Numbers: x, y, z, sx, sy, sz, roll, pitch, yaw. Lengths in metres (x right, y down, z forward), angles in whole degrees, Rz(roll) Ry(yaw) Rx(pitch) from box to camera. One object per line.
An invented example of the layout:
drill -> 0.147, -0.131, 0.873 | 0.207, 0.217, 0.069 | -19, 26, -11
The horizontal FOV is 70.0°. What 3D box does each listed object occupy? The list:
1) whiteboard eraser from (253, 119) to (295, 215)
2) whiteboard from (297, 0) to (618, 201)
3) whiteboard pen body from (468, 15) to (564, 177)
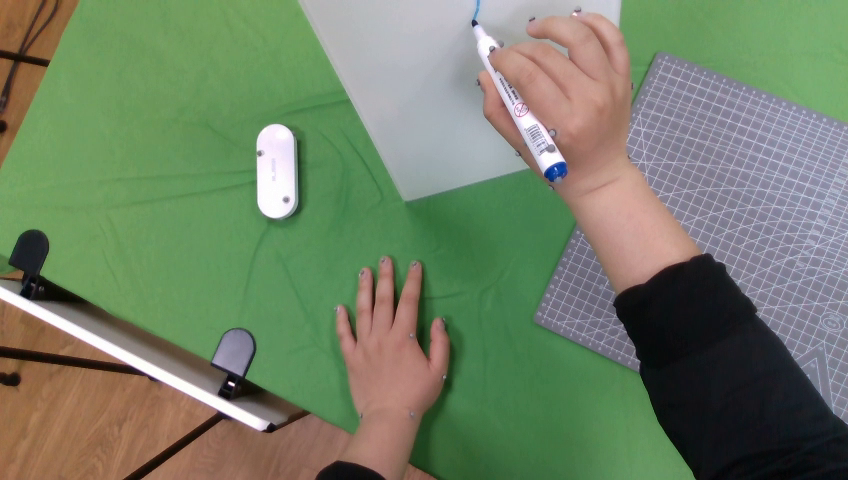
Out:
whiteboard eraser -> -0.160, -0.077, 0.643 | 0.041, 0.019, 0.101 | -3, 86, 6
whiteboard -> 0.035, -0.193, 0.516 | 0.217, 0.308, 0.142 | -15, 63, 7
whiteboard pen body -> 0.057, -0.101, 0.404 | 0.017, 0.017, 0.139 | -25, 67, 5
